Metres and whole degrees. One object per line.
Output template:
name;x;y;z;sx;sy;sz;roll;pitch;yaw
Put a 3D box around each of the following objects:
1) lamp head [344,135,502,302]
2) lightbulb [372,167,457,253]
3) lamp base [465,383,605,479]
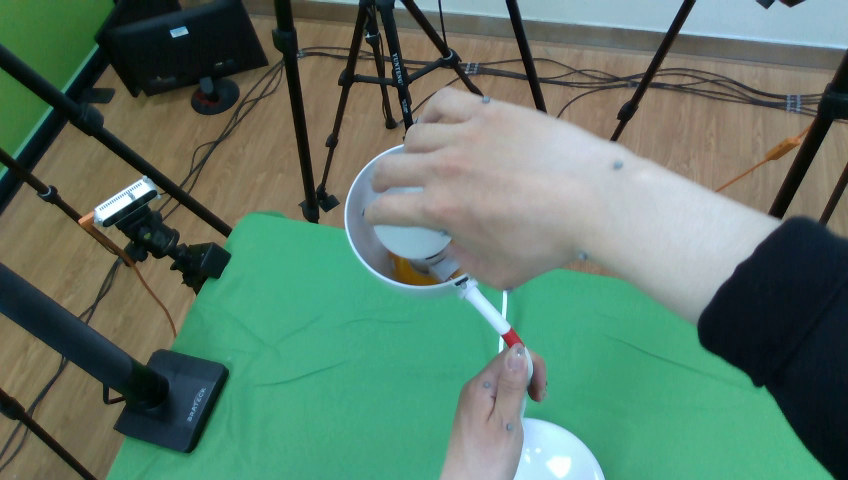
lamp head;0.005;-0.003;0.471;0.112;0.124;0.111;-2;68;6
lightbulb;-0.004;-0.014;0.444;0.059;0.108;0.059;-2;73;6
lamp base;0.114;0.233;0.642;0.161;0.182;0.177;-24;57;-8
